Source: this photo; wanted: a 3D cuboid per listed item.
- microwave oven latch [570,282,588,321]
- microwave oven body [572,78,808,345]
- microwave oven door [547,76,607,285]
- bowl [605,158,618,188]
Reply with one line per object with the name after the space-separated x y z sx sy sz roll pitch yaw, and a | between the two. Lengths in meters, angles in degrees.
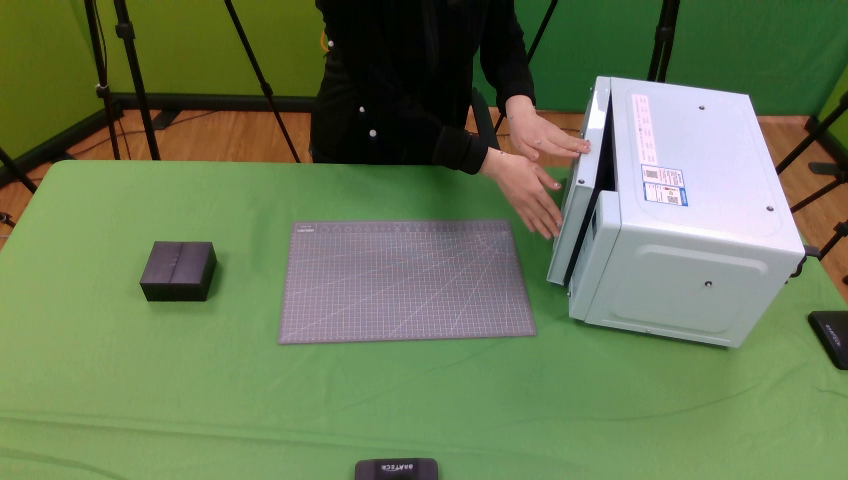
0.276 0.105 1.082 0.030 0.029 0.079 10 45 6 | microwave oven latch
0.456 -0.063 1.124 0.326 0.261 0.439 8 45 5 | microwave oven body
0.299 -0.123 1.163 0.039 0.245 0.354 14 47 9 | microwave oven door
0.422 -0.094 1.195 0.151 0.077 0.150 4 48 -4 | bowl
